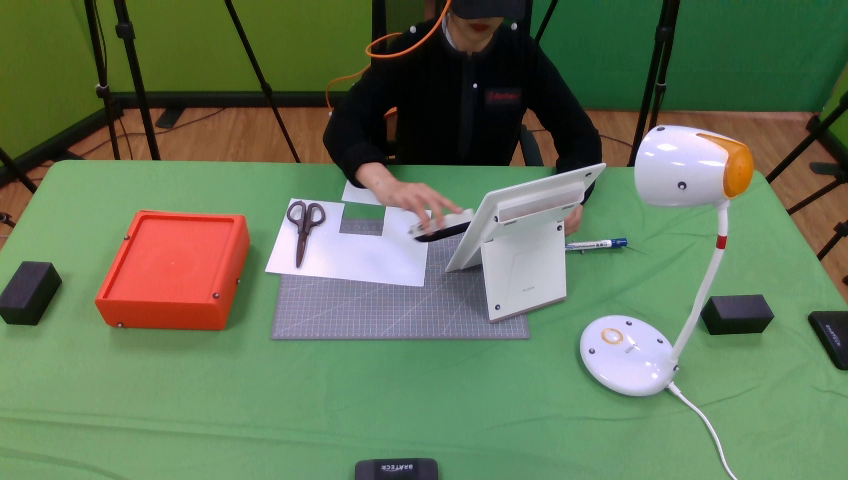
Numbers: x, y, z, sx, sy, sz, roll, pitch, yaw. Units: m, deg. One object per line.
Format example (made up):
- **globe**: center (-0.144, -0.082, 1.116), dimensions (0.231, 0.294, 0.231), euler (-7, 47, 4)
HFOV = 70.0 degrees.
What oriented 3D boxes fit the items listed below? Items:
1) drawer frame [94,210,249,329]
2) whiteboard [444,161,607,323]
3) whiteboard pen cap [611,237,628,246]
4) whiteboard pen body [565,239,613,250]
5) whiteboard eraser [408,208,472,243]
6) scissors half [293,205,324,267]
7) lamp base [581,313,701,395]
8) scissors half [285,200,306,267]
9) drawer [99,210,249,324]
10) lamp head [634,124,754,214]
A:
- **drawer frame**: center (-0.435, 0.048, 1.076), dimensions (0.202, 0.083, 0.212), euler (2, 47, -3)
- **whiteboard**: center (0.186, 0.025, 1.029), dimensions (0.217, 0.306, 0.143), euler (-14, 68, -18)
- **whiteboard pen cap**: center (0.390, 0.004, 1.215), dimensions (0.033, 0.018, 0.018), euler (-7, 47, -2)
- **whiteboard pen body**: center (0.331, 0.008, 1.212), dimensions (0.141, 0.017, 0.017), euler (-5, 47, -4)
- **whiteboard eraser**: center (0.030, -0.024, 1.075), dimensions (0.113, 0.042, 0.055), euler (-16, 5, -9)
- **scissors half**: center (-0.232, -0.009, 1.198), dimensions (0.040, 0.013, 0.174), euler (24, 43, -11)
- **lamp base**: center (0.361, 0.144, 0.973), dimensions (0.178, 0.181, 0.160), euler (34, 53, 23)
- **scissors half**: center (-0.251, -0.014, 1.192), dimensions (0.040, 0.013, 0.174), euler (6, 48, -21)
- **drawer**: center (-0.435, 0.044, 1.081), dimensions (0.194, 0.073, 0.210), euler (3, 47, -2)
- **lamp head**: center (0.351, -0.089, 0.776), dimensions (0.112, 0.113, 0.122), euler (-30, 30, -28)
